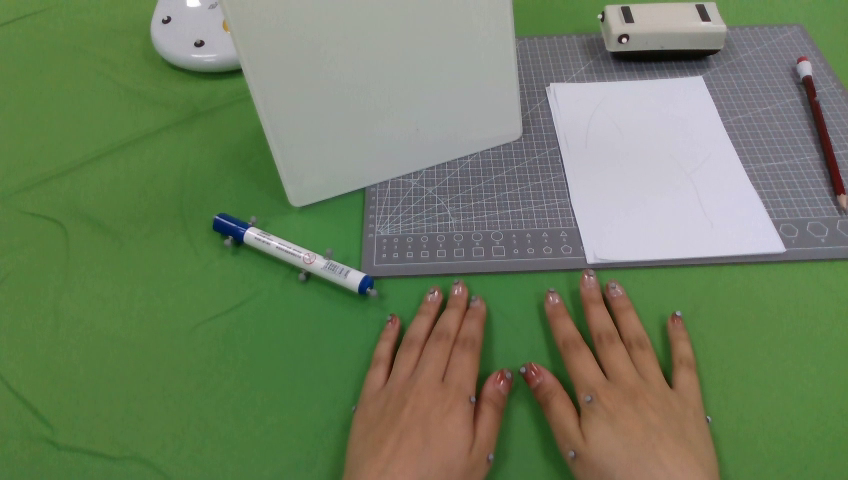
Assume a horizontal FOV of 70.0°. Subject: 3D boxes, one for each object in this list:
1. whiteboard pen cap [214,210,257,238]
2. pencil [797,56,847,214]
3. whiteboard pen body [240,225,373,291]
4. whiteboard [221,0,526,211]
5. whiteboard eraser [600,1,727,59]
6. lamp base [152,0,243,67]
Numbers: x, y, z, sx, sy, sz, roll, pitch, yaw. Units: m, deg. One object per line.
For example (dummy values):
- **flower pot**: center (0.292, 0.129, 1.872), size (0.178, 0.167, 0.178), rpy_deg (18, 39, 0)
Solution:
- **whiteboard pen cap**: center (-0.153, -0.012, 0.491), size (0.033, 0.018, 0.018), rpy_deg (21, 57, 21)
- **pencil**: center (0.352, -0.099, 0.534), size (0.012, 0.012, 0.192), rpy_deg (6, 55, 8)
- **whiteboard pen body**: center (-0.102, 0.010, 0.473), size (0.140, 0.017, 0.017), rpy_deg (21, 57, 19)
- **whiteboard**: center (-0.054, -0.216, 0.496), size (0.217, 0.308, 0.142), rpy_deg (-18, 35, -9)
- **whiteboard eraser**: center (0.236, -0.208, 0.602), size (0.112, 0.042, 0.055), rpy_deg (0, 54, 3)
- **lamp base**: center (-0.226, -0.293, 0.603), size (0.177, 0.182, 0.160), rpy_deg (32, 61, 27)
